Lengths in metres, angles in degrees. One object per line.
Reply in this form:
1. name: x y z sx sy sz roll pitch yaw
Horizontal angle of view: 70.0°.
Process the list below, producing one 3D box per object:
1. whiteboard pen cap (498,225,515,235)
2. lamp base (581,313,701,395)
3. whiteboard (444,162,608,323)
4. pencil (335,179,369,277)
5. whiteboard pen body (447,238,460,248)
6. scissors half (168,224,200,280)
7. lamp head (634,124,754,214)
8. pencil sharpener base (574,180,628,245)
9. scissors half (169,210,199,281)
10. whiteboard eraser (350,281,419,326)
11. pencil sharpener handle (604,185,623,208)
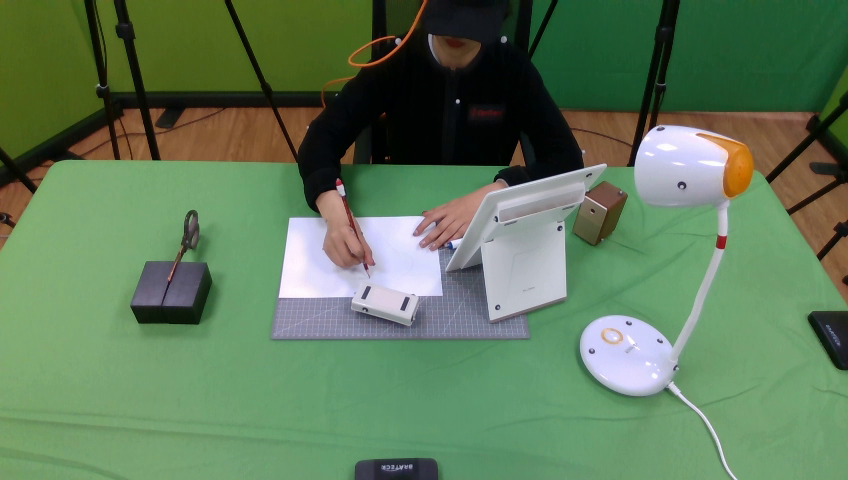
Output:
1. whiteboard pen cap: 0.166 -0.019 1.222 0.033 0.018 0.018 -14 49 -19
2. lamp base: 0.361 0.144 0.973 0.178 0.181 0.160 34 53 23
3. whiteboard: 0.186 0.025 1.029 0.217 0.306 0.143 -14 68 -18
4. pencil: -0.129 -0.019 1.101 0.012 0.194 0.012 -14 19 5
5. whiteboard pen body: 0.112 -0.005 1.203 0.141 0.017 0.017 -13 49 -18
6. scissors half: -0.440 0.023 1.111 0.013 0.040 0.174 7 29 -6
7. lamp head: 0.351 -0.089 0.776 0.112 0.113 0.122 -30 30 -28
8. pencil sharpener base: 0.355 -0.056 1.217 0.076 0.107 0.061 -33 56 -31
9. scissors half: -0.438 0.007 1.098 0.013 0.040 0.174 3 47 -3
10. whiteboard eraser: -0.069 0.113 1.065 0.112 0.042 0.055 14 46 9
11. pencil sharpener handle: 0.390 -0.091 1.235 0.030 0.068 0.036 -33 70 -31
